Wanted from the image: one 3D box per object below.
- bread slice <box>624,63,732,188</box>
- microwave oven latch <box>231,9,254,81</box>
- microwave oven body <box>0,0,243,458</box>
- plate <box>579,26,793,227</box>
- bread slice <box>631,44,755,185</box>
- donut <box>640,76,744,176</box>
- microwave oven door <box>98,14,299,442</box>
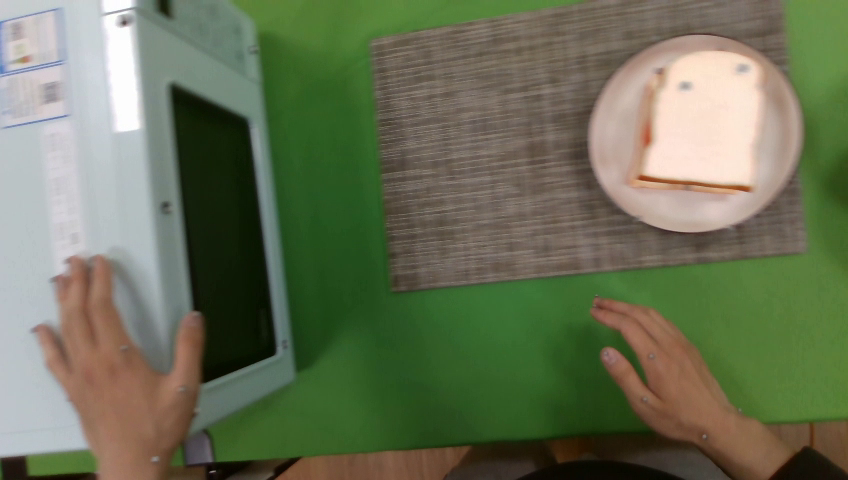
[{"bbox_3d":[0.269,-0.123,0.639,0.107,0.018,0.134,2,91,9],"label":"bread slice"},{"bbox_3d":[-0.222,-0.226,0.711,0.030,0.029,0.079,-9,90,10],"label":"microwave oven latch"},{"bbox_3d":[-0.359,-0.029,0.639,0.325,0.260,0.441,-9,90,10],"label":"microwave oven body"},{"bbox_3d":[0.270,-0.115,0.639,0.207,0.039,0.207,0,91,10],"label":"plate"},{"bbox_3d":[0.261,-0.123,0.583,0.104,0.019,0.131,6,90,16],"label":"bread slice"},{"bbox_3d":[0.267,-0.114,0.608,0.099,0.048,0.099,0,94,6],"label":"donut"},{"bbox_3d":[-0.212,-0.009,0.608,0.039,0.244,0.355,-9,89,11],"label":"microwave oven door"}]
